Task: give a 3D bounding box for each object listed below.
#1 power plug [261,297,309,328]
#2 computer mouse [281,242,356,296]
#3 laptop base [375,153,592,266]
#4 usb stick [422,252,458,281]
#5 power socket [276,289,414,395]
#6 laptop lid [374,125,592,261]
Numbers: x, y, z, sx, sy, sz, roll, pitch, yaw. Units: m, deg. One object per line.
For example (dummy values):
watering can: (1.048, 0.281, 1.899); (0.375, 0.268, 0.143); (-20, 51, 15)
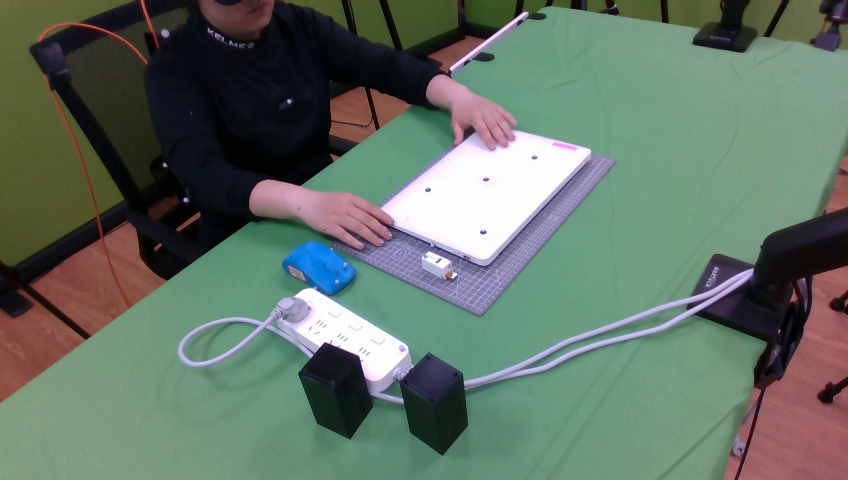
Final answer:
power plug: (-0.192, 0.107, 0.831); (0.073, 0.053, 0.035); (-33, 43, -24)
computer mouse: (-0.164, 0.041, 0.934); (0.116, 0.041, 0.063); (27, 48, 28)
laptop base: (0.112, -0.091, 1.063); (0.233, 0.023, 0.355); (21, 48, 34)
usb stick: (0.025, 0.042, 0.908); (0.058, 0.027, 0.021); (27, 48, 31)
power socket: (-0.115, 0.133, 0.820); (0.225, 0.033, 0.072); (26, 49, 33)
laptop lid: (0.109, -0.101, 1.057); (0.239, 0.013, 0.358); (23, 48, 34)
